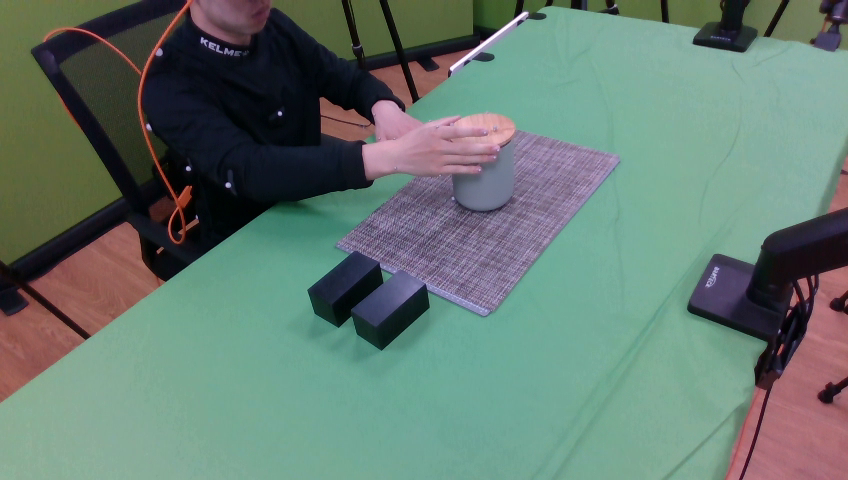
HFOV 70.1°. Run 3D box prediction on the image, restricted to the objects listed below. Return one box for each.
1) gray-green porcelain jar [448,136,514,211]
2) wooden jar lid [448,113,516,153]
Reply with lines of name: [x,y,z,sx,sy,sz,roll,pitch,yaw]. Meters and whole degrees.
gray-green porcelain jar: [0.098,-0.120,1.009,0.106,0.127,0.105,-4,41,4]
wooden jar lid: [0.092,-0.168,0.967,0.108,0.021,0.108,-6,38,5]
